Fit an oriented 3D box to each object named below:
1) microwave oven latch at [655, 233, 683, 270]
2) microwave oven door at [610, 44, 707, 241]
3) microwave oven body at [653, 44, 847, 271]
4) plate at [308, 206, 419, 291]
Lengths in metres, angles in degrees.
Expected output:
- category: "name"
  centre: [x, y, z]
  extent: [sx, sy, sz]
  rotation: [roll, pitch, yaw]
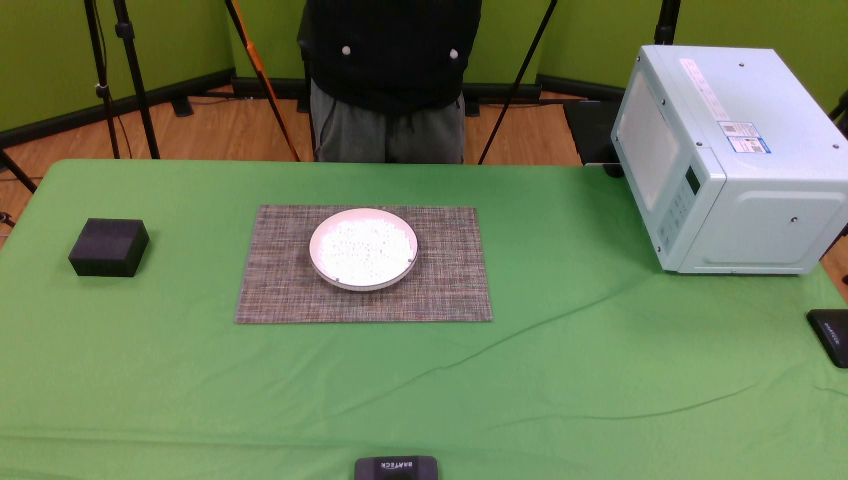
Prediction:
- category: "microwave oven latch"
  centre: [0.473, 0.021, 1.175]
  extent: [0.030, 0.029, 0.078]
  rotation: [2, 46, -1]
- category: "microwave oven door"
  centre: [0.473, -0.208, 1.250]
  extent: [0.039, 0.245, 0.353]
  rotation: [0, 47, -3]
- category: "microwave oven body"
  centre: [0.620, -0.172, 1.234]
  extent: [0.326, 0.261, 0.439]
  rotation: [0, 46, -3]
- category: "plate"
  centre: [-0.115, 0.019, 1.153]
  extent: [0.209, 0.038, 0.208]
  rotation: [2, 47, -2]
